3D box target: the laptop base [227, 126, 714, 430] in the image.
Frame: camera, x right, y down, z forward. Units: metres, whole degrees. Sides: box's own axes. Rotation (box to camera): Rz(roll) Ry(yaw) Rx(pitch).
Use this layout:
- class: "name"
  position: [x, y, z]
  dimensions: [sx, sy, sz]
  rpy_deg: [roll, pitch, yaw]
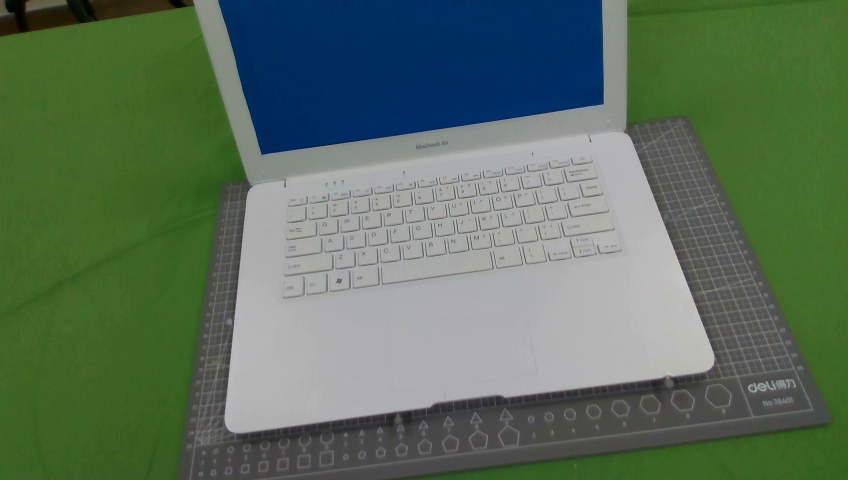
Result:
- class: "laptop base"
  position: [0.022, 0.020, 0.496]
  dimensions: [0.354, 0.023, 0.233]
  rpy_deg: [-8, 58, 2]

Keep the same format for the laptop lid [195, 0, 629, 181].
- class: "laptop lid"
  position: [-0.005, -0.177, 0.508]
  dimensions: [0.357, 0.243, 0.013]
  rpy_deg: [-9, 27, 3]
